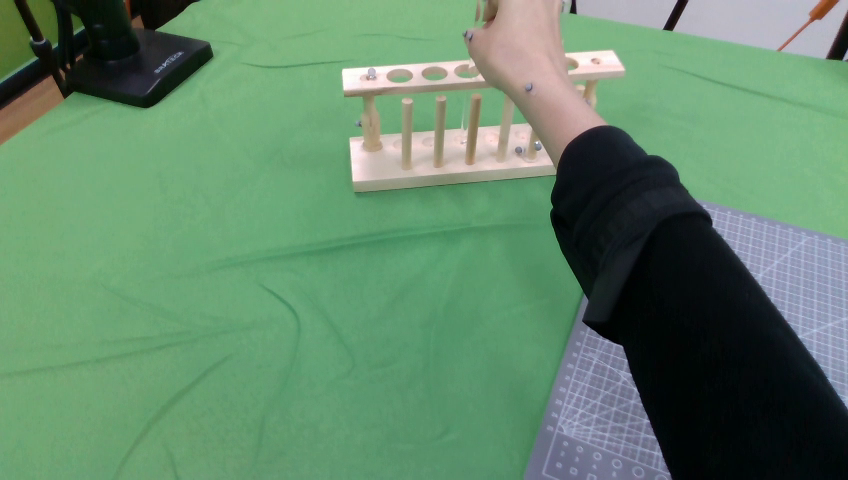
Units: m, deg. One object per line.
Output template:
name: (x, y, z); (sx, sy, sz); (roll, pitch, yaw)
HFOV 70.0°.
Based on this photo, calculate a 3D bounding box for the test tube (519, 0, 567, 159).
test tube: (0.097, -0.131, 0.502); (0.017, 0.151, 0.017); (2, 45, -1)

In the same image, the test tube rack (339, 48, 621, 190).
test tube rack: (0.051, -0.109, 0.543); (0.243, 0.086, 0.066); (-6, 47, -6)

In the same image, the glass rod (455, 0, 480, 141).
glass rod: (0.037, -0.157, 0.496); (0.008, 0.201, 0.008); (2, 51, -2)
